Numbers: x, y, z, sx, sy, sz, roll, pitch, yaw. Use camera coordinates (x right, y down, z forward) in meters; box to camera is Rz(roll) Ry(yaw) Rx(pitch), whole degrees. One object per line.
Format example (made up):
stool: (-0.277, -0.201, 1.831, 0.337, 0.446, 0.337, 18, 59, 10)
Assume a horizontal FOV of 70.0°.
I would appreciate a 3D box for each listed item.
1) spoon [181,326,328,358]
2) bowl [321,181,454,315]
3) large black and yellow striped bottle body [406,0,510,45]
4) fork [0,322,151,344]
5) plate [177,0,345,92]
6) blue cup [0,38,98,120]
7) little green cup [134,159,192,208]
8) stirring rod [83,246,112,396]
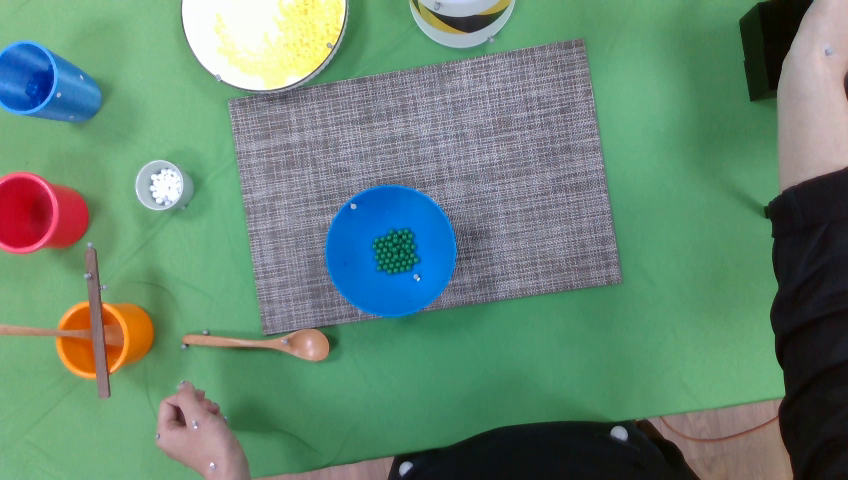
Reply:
spoon: (-0.214, 0.125, 0.759, 0.193, 0.021, 0.042, 2, 103, 3)
bowl: (-0.038, 0.010, 0.716, 0.151, 0.077, 0.151, 0, 90, 4)
large black and yellow striped bottle body: (0.035, -0.307, 0.663, 0.131, 0.184, 0.130, 0, 89, 4)
fork: (-0.431, 0.106, 0.710, 0.209, 0.018, 0.028, 11, 92, -39)
plate: (-0.199, -0.285, 0.752, 0.209, 0.038, 0.209, 0, 90, 4)
blue cup: (-0.455, -0.186, 0.737, 0.092, 0.100, 0.092, 0, 90, 6)
little green cup: (-0.324, -0.068, 0.759, 0.061, 0.038, 0.061, 0, 90, 5)
stirring rod: (-0.380, 0.094, 0.704, 0.014, 0.006, 0.176, -7, 89, 2)
